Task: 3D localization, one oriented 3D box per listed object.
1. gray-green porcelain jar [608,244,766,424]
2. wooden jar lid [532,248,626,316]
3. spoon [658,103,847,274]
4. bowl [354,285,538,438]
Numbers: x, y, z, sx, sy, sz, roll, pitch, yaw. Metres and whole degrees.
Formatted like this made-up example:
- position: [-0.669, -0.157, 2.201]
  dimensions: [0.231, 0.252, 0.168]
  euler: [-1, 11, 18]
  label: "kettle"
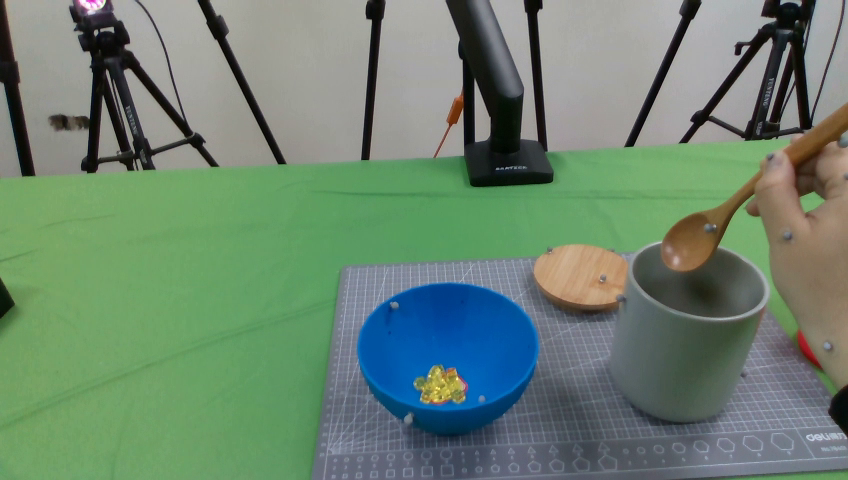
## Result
- position: [0.214, 0.082, 0.511]
  dimensions: [0.106, 0.127, 0.105]
  euler: [-2, 35, 1]
  label: "gray-green porcelain jar"
- position: [0.172, 0.046, 0.662]
  dimensions: [0.108, 0.021, 0.107]
  euler: [-2, 33, 1]
  label: "wooden jar lid"
- position: [0.210, -0.028, 0.395]
  dimensions: [0.022, 0.195, 0.041]
  euler: [0, 64, -9]
  label: "spoon"
- position: [0.019, 0.114, 0.518]
  dimensions: [0.151, 0.077, 0.150]
  euler: [-1, 35, 1]
  label: "bowl"
